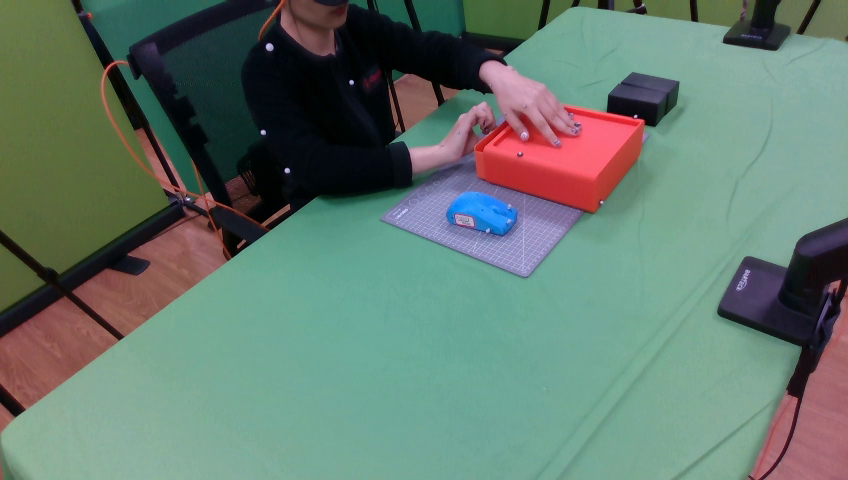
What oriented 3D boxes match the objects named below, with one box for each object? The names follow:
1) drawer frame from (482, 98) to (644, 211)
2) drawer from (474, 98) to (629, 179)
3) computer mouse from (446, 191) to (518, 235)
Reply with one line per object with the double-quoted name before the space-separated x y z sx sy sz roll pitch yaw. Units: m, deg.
"drawer frame" 0.246 -0.158 1.071 0.212 0.083 0.202 21 48 30
"drawer" 0.229 -0.163 1.082 0.210 0.073 0.195 21 48 31
"computer mouse" 0.097 -0.048 1.004 0.116 0.041 0.063 18 45 23
